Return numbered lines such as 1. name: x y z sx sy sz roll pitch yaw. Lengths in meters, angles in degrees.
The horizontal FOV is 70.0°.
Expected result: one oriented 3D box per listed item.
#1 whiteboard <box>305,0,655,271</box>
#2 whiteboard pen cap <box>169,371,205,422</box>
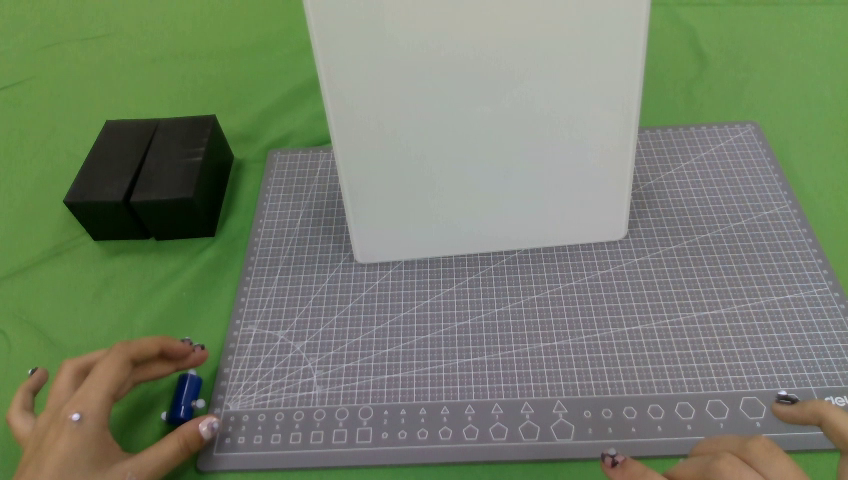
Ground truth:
1. whiteboard: 0.039 -0.150 0.452 0.217 0.308 0.142 -5 32 3
2. whiteboard pen cap: -0.163 0.109 0.417 0.018 0.018 0.033 0 54 5
